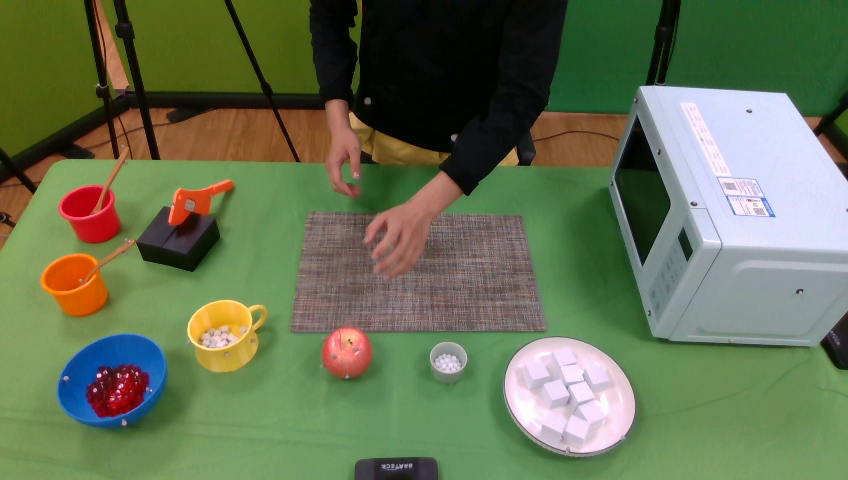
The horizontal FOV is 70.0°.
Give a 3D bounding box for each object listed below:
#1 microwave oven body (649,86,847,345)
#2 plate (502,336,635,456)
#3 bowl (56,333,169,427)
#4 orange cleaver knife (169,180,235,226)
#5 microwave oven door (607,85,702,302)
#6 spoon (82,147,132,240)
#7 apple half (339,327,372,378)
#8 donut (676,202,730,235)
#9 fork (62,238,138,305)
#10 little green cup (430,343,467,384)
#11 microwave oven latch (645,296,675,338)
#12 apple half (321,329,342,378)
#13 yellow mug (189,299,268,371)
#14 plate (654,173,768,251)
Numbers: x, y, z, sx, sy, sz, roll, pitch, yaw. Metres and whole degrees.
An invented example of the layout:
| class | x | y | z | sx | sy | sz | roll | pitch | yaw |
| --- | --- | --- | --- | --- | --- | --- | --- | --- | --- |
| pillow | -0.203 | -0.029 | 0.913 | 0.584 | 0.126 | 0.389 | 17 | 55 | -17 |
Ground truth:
| class | x | y | z | sx | sy | sz | roll | pitch | yaw |
| --- | --- | --- | --- | --- | --- | --- | --- | --- | --- |
| microwave oven body | 0.568 | -0.053 | 1.118 | 0.326 | 0.261 | 0.439 | 2 | 45 | -1 |
| plate | 0.225 | 0.248 | 0.963 | 0.208 | 0.039 | 0.206 | 2 | 46 | -2 |
| bowl | -0.456 | 0.222 | 0.912 | 0.151 | 0.077 | 0.150 | 3 | 46 | -2 |
| orange cleaver knife | -0.436 | -0.076 | 1.199 | 0.012 | 0.077 | 0.211 | 17 | 17 | 9 |
| microwave oven door | 0.423 | -0.094 | 1.141 | 0.039 | 0.245 | 0.353 | 2 | 46 | -1 |
| spoon | -0.602 | -0.089 | 1.156 | 0.041 | 0.022 | 0.193 | 27 | 95 | 19 |
| apple half | -0.111 | 0.182 | 0.980 | 0.053 | 0.075 | 0.080 | -2 | 42 | -12 |
| donut | 0.538 | -0.043 | 1.170 | 0.099 | 0.048 | 0.098 | 5 | 26 | -2 |
| fork | -0.547 | 0.053 | 1.018 | 0.207 | 0.019 | 0.028 | -36 | 41 | 23 |
| little green cup | 0.039 | 0.203 | 0.994 | 0.061 | 0.039 | 0.061 | 2 | 46 | -2 |
| microwave oven latch | 0.412 | 0.134 | 1.062 | 0.030 | 0.029 | 0.078 | 3 | 45 | 0 |
| apple half | -0.149 | 0.186 | 0.972 | 0.033 | 0.081 | 0.080 | -2 | 46 | -13 |
| yellow mug | -0.316 | 0.148 | 1.002 | 0.131 | 0.064 | 0.099 | -33 | 56 | -31 |
| plate | 0.556 | -0.050 | 1.187 | 0.209 | 0.038 | 0.208 | 1 | 46 | -1 |
